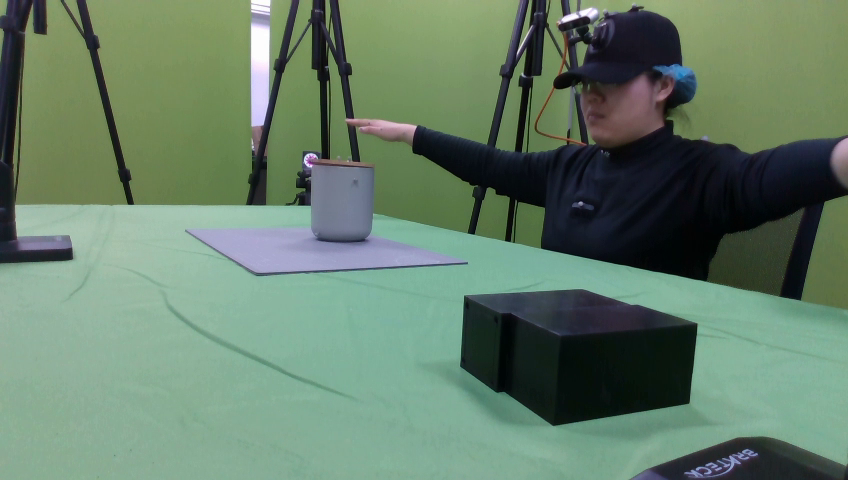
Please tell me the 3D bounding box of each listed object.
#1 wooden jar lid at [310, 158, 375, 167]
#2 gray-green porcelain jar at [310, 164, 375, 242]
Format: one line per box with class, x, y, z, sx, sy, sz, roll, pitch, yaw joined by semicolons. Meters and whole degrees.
wooden jar lid;-0.137;-0.125;1.017;0.108;0.020;0.108;4;8;0
gray-green porcelain jar;-0.139;-0.064;1.025;0.106;0.126;0.106;3;8;0
